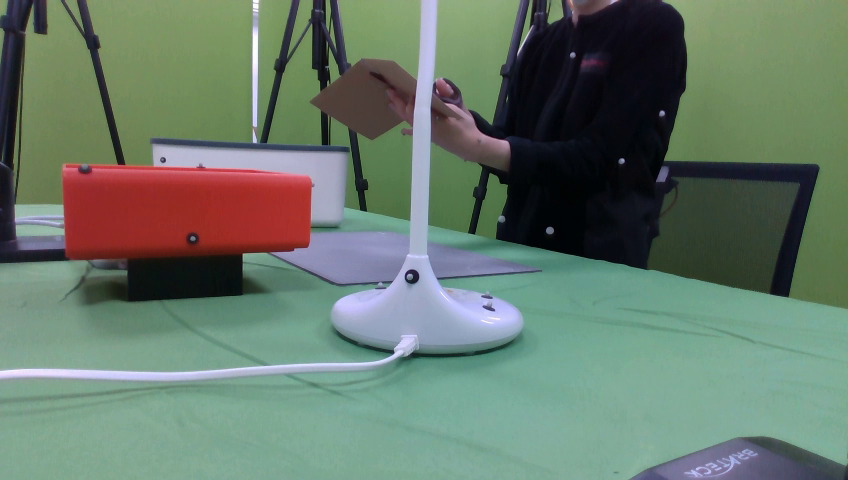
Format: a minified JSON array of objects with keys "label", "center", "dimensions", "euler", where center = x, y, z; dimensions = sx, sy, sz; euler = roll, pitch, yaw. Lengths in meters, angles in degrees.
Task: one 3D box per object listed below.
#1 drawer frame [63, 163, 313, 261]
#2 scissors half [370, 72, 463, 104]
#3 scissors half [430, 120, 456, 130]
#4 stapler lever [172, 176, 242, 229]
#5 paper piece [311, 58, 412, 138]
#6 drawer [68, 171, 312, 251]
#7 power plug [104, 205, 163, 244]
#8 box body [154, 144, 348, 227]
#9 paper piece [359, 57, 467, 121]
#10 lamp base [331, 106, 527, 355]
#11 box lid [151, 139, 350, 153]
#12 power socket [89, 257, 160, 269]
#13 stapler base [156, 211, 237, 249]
[{"label":"drawer frame","center":[-0.248,-0.036,0.626],"dimensions":[0.215,0.082,0.200],"euler":[-3,9,-31]},{"label":"scissors half","center":[-0.009,-0.245,0.953],"dimensions":[0.176,0.040,0.013],"euler":[1,3,-35]},{"label":"scissors half","center":[-0.016,-0.224,0.952],"dimensions":[0.176,0.040,0.012],"euler":[32,-10,-33]},{"label":"stapler lever","center":[-0.218,-0.041,0.618],"dimensions":[0.027,0.040,0.118],"euler":[18,11,-2]},{"label":"paper piece","center":[-0.091,-0.222,0.972],"dimensions":[0.136,0.004,0.135],"euler":[26,-35,-35]},{"label":"drawer","center":[-0.247,-0.036,0.629],"dimensions":[0.213,0.073,0.193],"euler":[-2,9,-30]},{"label":"power plug","center":[-0.390,-0.021,0.815],"dimensions":[0.073,0.052,0.035],"euler":[-1,7,-27]},{"label":"box body","center":[-0.357,-0.119,1.264],"dimensions":[0.365,0.160,0.253],"euler":[0,7,-18]},{"label":"paper piece","center":[-0.019,-0.214,0.868],"dimensions":[0.139,0.008,0.135],"euler":[36,-4,-29]},{"label":"lamp base","center":[0.006,-0.012,0.478],"dimensions":[0.161,0.180,0.179],"euler":[2,10,2]},{"label":"box lid","center":[-0.352,-0.191,1.256],"dimensions":[0.373,0.015,0.262],"euler":[0,8,-18]},{"label":"power socket","center":[-0.409,0.004,0.793],"dimensions":[0.072,0.032,0.225],"euler":[-2,8,-38]},{"label":"stapler base","center":[-0.227,-0.017,0.624],"dimensions":[0.041,0.024,0.130],"euler":[18,10,-2]}]
